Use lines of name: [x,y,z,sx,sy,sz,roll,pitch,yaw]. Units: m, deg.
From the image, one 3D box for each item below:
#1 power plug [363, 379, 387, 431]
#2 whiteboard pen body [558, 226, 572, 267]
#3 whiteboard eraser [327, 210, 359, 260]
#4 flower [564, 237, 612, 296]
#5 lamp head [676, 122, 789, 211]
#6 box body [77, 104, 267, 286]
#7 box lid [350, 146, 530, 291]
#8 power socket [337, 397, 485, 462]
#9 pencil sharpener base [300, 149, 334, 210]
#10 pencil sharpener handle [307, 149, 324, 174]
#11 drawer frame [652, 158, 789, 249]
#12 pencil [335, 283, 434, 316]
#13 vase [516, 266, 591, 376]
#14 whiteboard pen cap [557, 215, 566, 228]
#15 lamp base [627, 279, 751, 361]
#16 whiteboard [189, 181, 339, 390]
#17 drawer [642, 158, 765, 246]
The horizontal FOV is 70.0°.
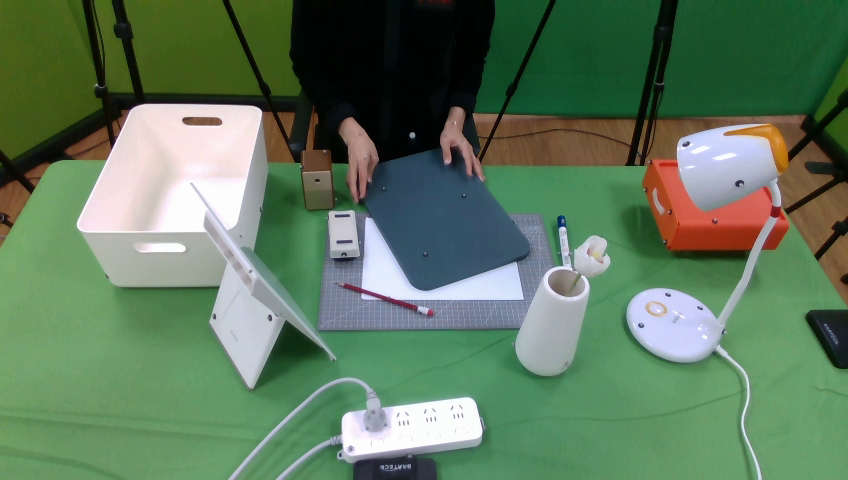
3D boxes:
power plug: [-0.072,0.252,0.910,0.035,0.053,0.072,3,45,-1]
whiteboard pen body: [0.280,0.010,1.208,0.017,0.017,0.140,3,50,-1]
whiteboard eraser: [-0.158,-0.009,1.177,0.055,0.042,0.112,-6,47,-7]
flower: [0.206,0.088,0.893,0.038,0.363,0.044,-17,67,-9]
lamp head: [0.423,-0.104,0.819,0.122,0.113,0.112,-13,33,40]
box body: [-0.446,-0.088,1.150,0.254,0.161,0.361,-1,46,-5]
box lid: [0.026,-0.059,1.258,0.263,0.015,0.369,-18,51,-19]
power socket: [-0.018,0.285,0.915,0.227,0.033,0.071,-5,46,-8]
pencil sharpener base: [-0.219,-0.125,1.242,0.061,0.107,0.076,-4,46,-8]
pencil sharpener handle: [-0.229,-0.170,1.267,0.036,0.068,0.030,4,45,-15]
drawer frame: [0.571,-0.075,1.214,0.214,0.083,0.200,0,45,-1]
pencil: [-0.074,0.105,1.097,0.194,0.012,0.012,16,47,13]
vase: [0.208,0.132,0.964,0.098,0.201,0.097,3,46,-3]
whiteboard pen cap: [0.284,-0.035,1.246,0.018,0.018,0.033,4,52,-1]
lamp base: [0.459,0.100,1.027,0.178,0.181,0.160,27,51,17]
whiteboard: [-0.292,0.096,0.929,0.144,0.307,0.216,-37,57,-10]
drawer: [0.566,-0.076,1.211,0.212,0.073,0.193,2,45,-2]
